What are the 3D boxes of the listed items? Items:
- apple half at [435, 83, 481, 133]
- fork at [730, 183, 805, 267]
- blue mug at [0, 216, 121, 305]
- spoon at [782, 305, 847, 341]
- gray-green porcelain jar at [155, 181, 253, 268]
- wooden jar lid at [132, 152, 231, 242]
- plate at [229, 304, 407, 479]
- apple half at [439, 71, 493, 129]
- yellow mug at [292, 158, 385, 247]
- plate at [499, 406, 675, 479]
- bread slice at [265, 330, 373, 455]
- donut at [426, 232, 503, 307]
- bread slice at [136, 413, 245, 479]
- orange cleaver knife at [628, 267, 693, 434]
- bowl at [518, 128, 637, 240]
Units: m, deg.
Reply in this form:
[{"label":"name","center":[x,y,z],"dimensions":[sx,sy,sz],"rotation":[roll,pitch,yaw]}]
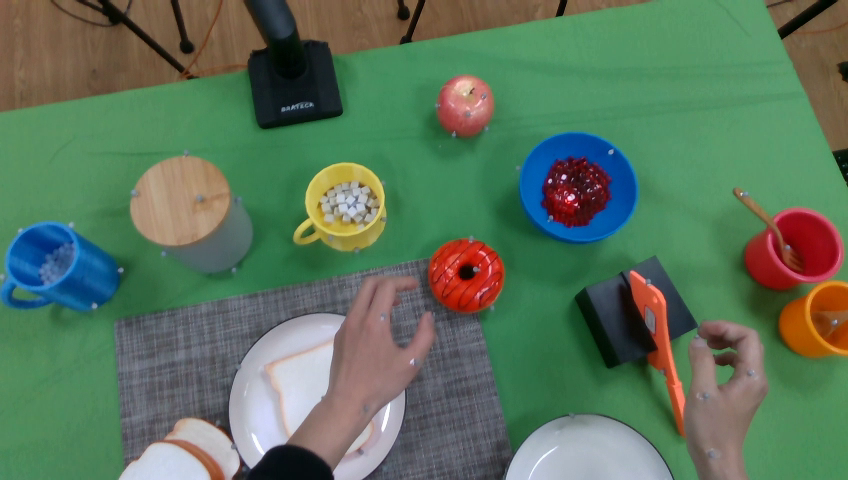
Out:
[{"label":"apple half","center":[0.038,-0.170,0.825],"dimensions":[0.081,0.081,0.033],"rotation":[43,71,11]},{"label":"fork","center":[0.431,-0.017,0.753],"dimensions":[0.209,0.018,0.028],"rotation":[33,67,-35]},{"label":"blue mug","center":[-0.443,0.037,0.726],"dimensions":[0.116,0.106,0.082],"rotation":[-36,77,-12]},{"label":"spoon","center":[0.534,0.076,0.728],"dimensions":[0.022,0.193,0.041],"rotation":[2,62,-49]},{"label":"gray-green porcelain jar","center":[-0.273,-0.027,0.742],"dimensions":[0.106,0.127,0.105],"rotation":[1,72,-2]},{"label":"wooden jar lid","center":[-0.271,-0.047,0.683],"dimensions":[0.108,0.021,0.107],"rotation":[0,71,-1]},{"label":"plate","center":[-0.124,0.182,0.725],"dimensions":[0.208,0.039,0.206],"rotation":[1,73,-2]},{"label":"apple half","center":[0.064,-0.196,0.836],"dimensions":[0.080,0.075,0.053],"rotation":[43,70,15]},{"label":"yellow mug","center":[-0.114,-0.039,0.784],"dimensions":[0.131,0.064,0.099],"rotation":[-34,77,-11]},{"label":"plate","center":[0.187,0.301,0.702],"dimensions":[0.209,0.038,0.208],"rotation":[1,73,-1]},{"label":"bread slice","center":[-0.117,0.186,0.725],"dimensions":[0.107,0.018,0.133],"rotation":[-22,74,-8]},{"label":"donut","center":[0.052,0.038,0.773],"dimensions":[0.099,0.048,0.098],"rotation":[1,74,-2]},{"label":"bread slice","center":[-0.266,0.269,0.693],"dimensions":[0.105,0.019,0.131],"rotation":[27,75,6]},{"label":"orange cleaver knife","center":[0.285,0.134,0.735],"dimensions":[0.012,0.077,0.212],"rotation":[-20,104,-7]},{"label":"bowl","center":[0.192,-0.062,0.796],"dimensions":[0.151,0.077,0.150],"rotation":[1,73,-2]}]
